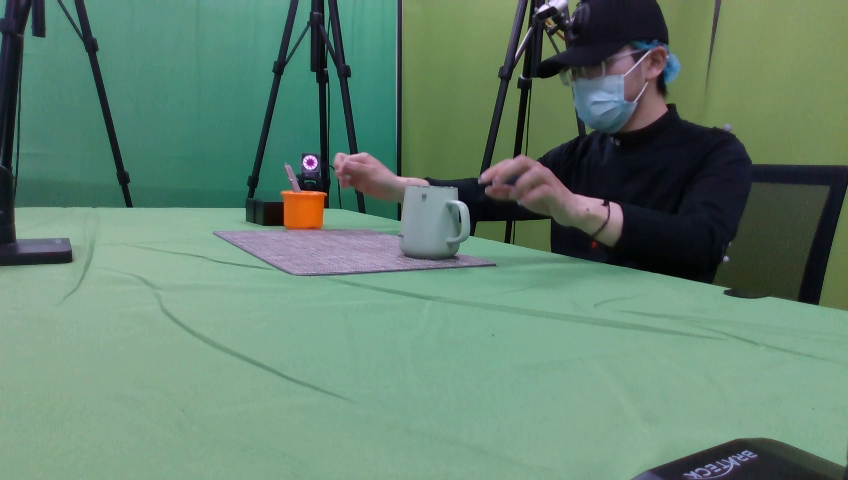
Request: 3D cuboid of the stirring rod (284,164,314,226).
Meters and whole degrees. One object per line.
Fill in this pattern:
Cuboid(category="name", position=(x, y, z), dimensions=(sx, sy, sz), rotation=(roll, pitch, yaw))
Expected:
Cuboid(category="stirring rod", position=(-0.259, -0.094, 1.242), dimensions=(0.014, 0.006, 0.175), rotation=(1, 49, -38))

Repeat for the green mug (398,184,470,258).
Cuboid(category="green mug", position=(0.020, -0.028, 0.890), dimensions=(0.093, 0.105, 0.124), rotation=(-4, 10, -42))
